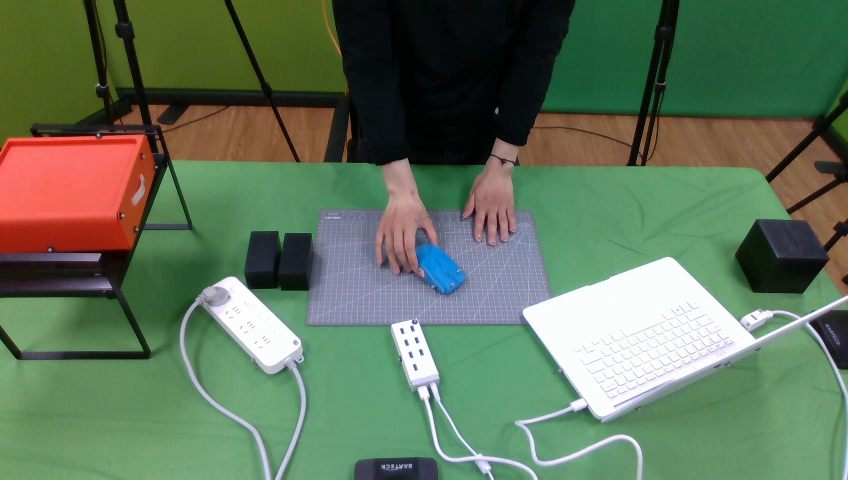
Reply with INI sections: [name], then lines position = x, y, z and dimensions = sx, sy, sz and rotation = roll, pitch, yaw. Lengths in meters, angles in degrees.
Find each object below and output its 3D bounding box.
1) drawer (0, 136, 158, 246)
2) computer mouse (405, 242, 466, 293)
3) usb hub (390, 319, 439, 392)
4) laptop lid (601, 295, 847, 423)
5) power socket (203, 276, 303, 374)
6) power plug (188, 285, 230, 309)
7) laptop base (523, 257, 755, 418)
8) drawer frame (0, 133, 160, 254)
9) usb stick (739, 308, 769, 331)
[drawer]
position = -0.545, -0.076, 0.941
dimensions = 0.212, 0.073, 0.193
rotation = -2, 47, -6
[computer mouse]
position = 0.021, 0.049, 1.139
dimensions = 0.116, 0.041, 0.063
rotation = 39, 54, 23
[usb hub]
position = -0.016, 0.190, 1.013
dimensions = 0.049, 0.025, 0.124
rotation = -11, 48, -15
[laptop lid]
position = 0.449, 0.180, 0.905
dimensions = 0.357, 0.242, 0.013
rotation = -17, 64, -20
[power socket]
position = -0.296, 0.141, 1.034
dimensions = 0.072, 0.033, 0.225
rotation = -35, 58, -31
[power plug]
position = -0.369, 0.103, 1.039
dimensions = 0.072, 0.053, 0.035
rotation = -26, 54, -23
[laptop base]
position = 0.380, 0.160, 1.078
dimensions = 0.355, 0.023, 0.234
rotation = -17, 48, -20
[drawer frame]
position = -0.547, -0.075, 0.939
dimensions = 0.214, 0.083, 0.200
rotation = -3, 47, -6
[usb stick]
position = 0.587, 0.146, 1.087
dimensions = 0.059, 0.027, 0.021
rotation = -21, 47, -16
